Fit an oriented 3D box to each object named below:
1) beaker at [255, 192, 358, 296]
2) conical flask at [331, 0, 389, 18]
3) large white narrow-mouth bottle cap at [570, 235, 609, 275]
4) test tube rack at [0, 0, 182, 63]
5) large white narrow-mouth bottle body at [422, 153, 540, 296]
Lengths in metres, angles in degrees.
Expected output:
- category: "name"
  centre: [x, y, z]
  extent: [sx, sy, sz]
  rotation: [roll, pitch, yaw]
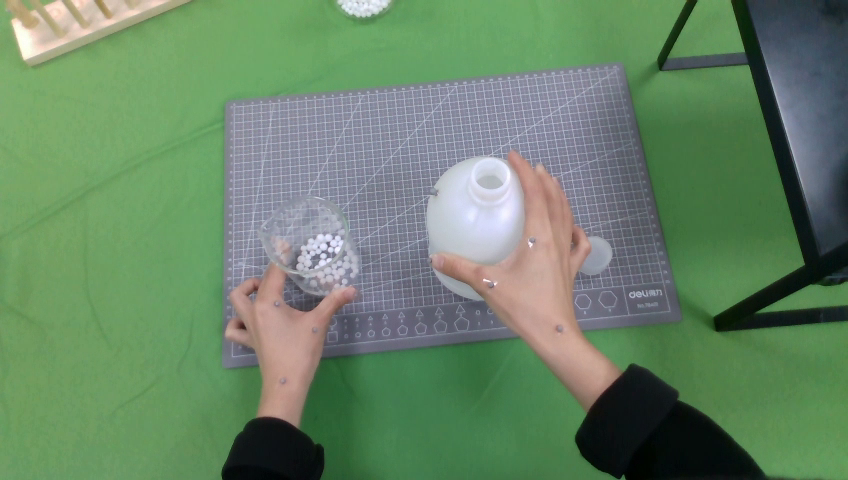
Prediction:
- category: "beaker"
  centre: [-0.106, 0.008, 0.573]
  extent: [0.084, 0.101, 0.073]
  rotation: [5, 70, 4]
- category: "conical flask"
  centre: [-0.078, -0.314, 0.671]
  extent: [0.075, 0.122, 0.075]
  rotation: [-1, 71, 2]
- category: "large white narrow-mouth bottle cap"
  centre: [0.165, 0.016, 0.605]
  extent: [0.038, 0.024, 0.037]
  rotation: [-1, 72, 3]
- category: "test tube rack"
  centre: [-0.373, -0.300, 0.693]
  extent: [0.242, 0.086, 0.066]
  rotation: [-26, 72, -7]
- category: "large white narrow-mouth bottle body"
  centre: [0.049, -0.018, 0.529]
  extent: [0.102, 0.196, 0.101]
  rotation: [-1, 72, 4]
